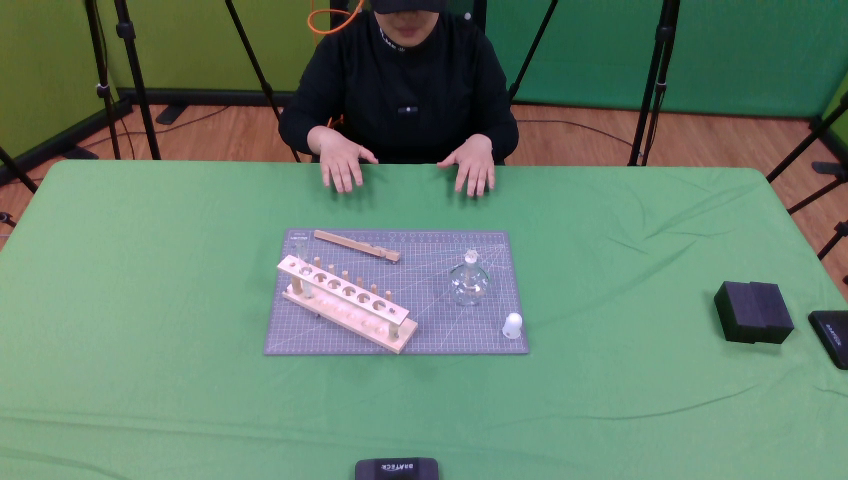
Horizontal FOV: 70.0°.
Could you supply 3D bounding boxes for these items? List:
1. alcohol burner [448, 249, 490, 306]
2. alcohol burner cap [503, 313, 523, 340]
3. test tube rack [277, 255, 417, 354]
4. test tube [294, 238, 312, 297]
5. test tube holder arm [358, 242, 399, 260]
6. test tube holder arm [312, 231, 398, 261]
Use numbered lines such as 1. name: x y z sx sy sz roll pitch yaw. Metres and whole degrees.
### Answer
1. alcohol burner: 0.081 0.062 1.078 0.078 0.120 0.077 1 45 -1
2. alcohol burner cap: 0.155 0.147 1.051 0.034 0.048 0.033 1 46 -1
3. test tube rack: -0.132 0.099 1.045 0.241 0.085 0.066 23 49 17
4. test tube: -0.202 0.050 1.018 0.017 0.151 0.017 2 50 -2
5. test tube holder arm: -0.090 0.021 1.172 0.087 0.015 0.010 15 13 12
6. test tube holder arm: -0.135 0.011 1.175 0.178 0.015 0.013 15 13 11
